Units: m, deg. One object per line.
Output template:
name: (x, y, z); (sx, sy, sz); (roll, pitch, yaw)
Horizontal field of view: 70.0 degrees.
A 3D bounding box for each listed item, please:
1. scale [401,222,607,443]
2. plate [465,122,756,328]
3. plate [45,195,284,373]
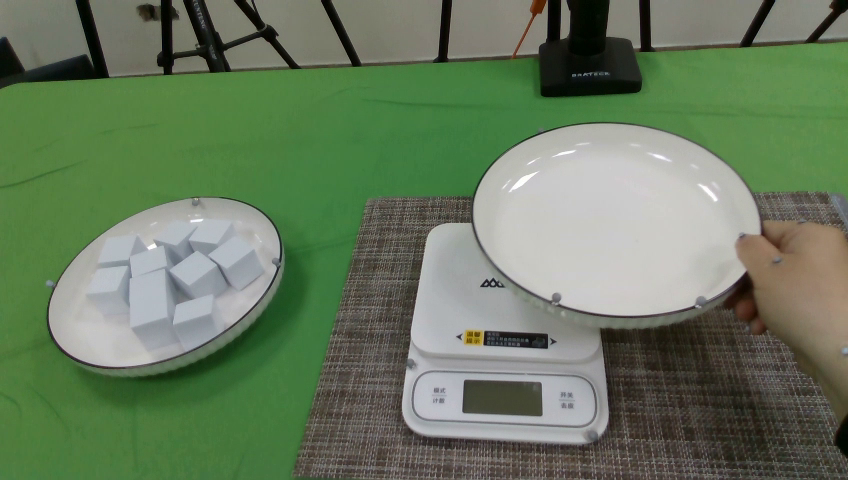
scale: (0.065, 0.063, 0.488); (0.148, 0.032, 0.199); (0, 45, 9)
plate: (0.136, -0.014, 0.464); (0.207, 0.039, 0.205); (-3, 47, 4)
plate: (-0.229, 0.039, 0.556); (0.209, 0.038, 0.207); (-4, 44, 4)
